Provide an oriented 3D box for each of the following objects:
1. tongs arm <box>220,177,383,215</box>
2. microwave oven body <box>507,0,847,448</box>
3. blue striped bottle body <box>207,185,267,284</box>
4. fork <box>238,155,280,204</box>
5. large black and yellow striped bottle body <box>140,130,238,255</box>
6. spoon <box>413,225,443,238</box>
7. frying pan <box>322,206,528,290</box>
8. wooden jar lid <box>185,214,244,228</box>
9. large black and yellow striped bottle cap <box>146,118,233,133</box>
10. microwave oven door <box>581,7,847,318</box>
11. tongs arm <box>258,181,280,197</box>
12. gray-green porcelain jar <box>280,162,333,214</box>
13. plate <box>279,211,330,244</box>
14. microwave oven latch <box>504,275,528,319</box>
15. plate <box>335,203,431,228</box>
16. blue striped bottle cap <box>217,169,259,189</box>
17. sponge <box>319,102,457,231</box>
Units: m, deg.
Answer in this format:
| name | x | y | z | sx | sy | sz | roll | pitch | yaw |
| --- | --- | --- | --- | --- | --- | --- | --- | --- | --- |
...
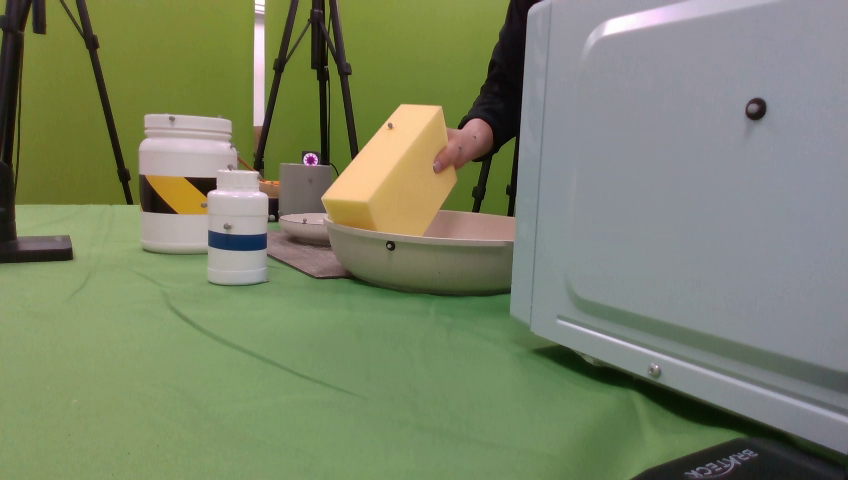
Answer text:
| name | x | y | z | sx | sy | sz | roll | pitch | yaw |
| --- | --- | --- | --- | --- | --- | --- | --- | --- | --- |
| tongs arm | -0.285 | -0.103 | 1.445 | 0.389 | 0.027 | 0.028 | 9 | -4 | -23 |
| microwave oven body | 0.331 | -0.042 | 0.425 | 0.444 | 0.260 | 0.324 | -2 | 8 | -31 |
| blue striped bottle body | -0.204 | -0.016 | 0.663 | 0.063 | 0.120 | 0.063 | 2 | 7 | 0 |
| fork | -0.396 | -0.143 | 1.486 | 0.028 | 0.018 | 0.208 | 19 | -26 | 45 |
| large black and yellow striped bottle body | -0.336 | -0.078 | 0.871 | 0.131 | 0.184 | 0.130 | 2 | 8 | 0 |
| spoon | 0.016 | -0.019 | 1.113 | 0.041 | 0.021 | 0.194 | -14 | 3 | 12 |
| frying pan | 0.109 | -0.018 | 0.800 | 0.490 | 0.102 | 0.305 | -12 | 16 | -30 |
| wooden jar lid | -0.404 | -0.037 | 1.169 | 0.108 | 0.020 | 0.108 | 3 | 7 | 0 |
| large black and yellow striped bottle cap | -0.333 | -0.163 | 0.861 | 0.115 | 0.019 | 0.115 | 1 | 9 | 0 |
| microwave oven door | 0.295 | -0.067 | 0.569 | 0.358 | 0.243 | 0.039 | -3 | 8 | -31 |
| tongs arm | -0.241 | -0.095 | 1.373 | 0.387 | 0.026 | 0.050 | 9 | -1 | -37 |
| gray-green porcelain jar | -0.238 | -0.092 | 1.221 | 0.106 | 0.126 | 0.106 | 2 | 7 | 0 |
| plate | -0.139 | -0.022 | 1.021 | 0.209 | 0.038 | 0.209 | 3 | 8 | 0 |
| microwave oven latch | 0.100 | 0.042 | 0.471 | 0.079 | 0.029 | 0.030 | -1 | 7 | -28 |
| plate | -0.089 | -0.053 | 1.309 | 0.208 | 0.039 | 0.207 | 2 | 8 | 0 |
| blue striped bottle cap | -0.202 | -0.067 | 0.657 | 0.044 | 0.020 | 0.044 | 0 | 10 | 0 |
| sponge | -0.034 | -0.068 | 0.741 | 0.060 | 0.118 | 0.207 | 7 | 44 | 26 |
